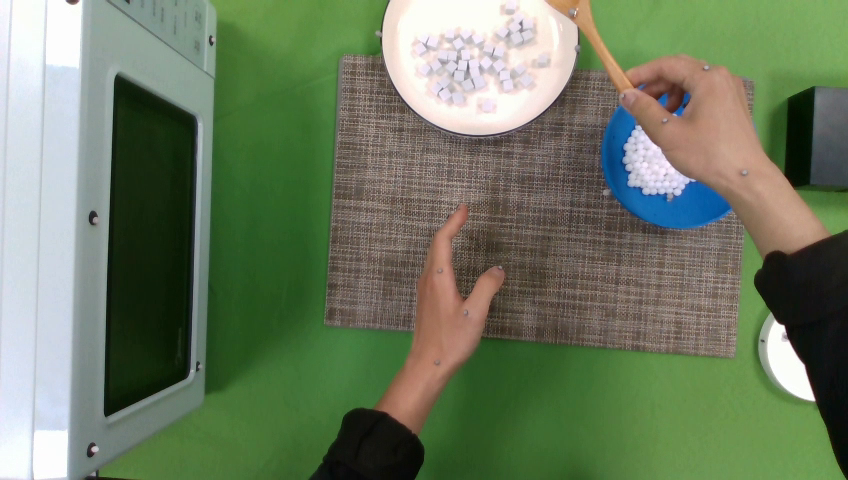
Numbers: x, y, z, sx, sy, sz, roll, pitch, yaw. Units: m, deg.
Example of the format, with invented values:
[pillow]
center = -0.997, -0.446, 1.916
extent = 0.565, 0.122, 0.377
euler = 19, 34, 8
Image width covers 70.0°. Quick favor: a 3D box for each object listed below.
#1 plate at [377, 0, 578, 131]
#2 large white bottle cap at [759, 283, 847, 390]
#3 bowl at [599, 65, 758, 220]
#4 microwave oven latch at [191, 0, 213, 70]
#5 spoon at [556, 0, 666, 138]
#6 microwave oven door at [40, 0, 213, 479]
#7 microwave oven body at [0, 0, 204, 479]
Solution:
[plate]
center = 0.056, -0.216, 0.646
extent = 0.209, 0.038, 0.209
euler = 0, 88, 1
[large white bottle cap]
center = 0.421, 0.104, 0.652
extent = 0.115, 0.018, 0.115
euler = 0, 91, 0
[bowl]
center = 0.248, -0.094, 0.621
extent = 0.151, 0.077, 0.151
euler = 0, 91, 2
[microwave oven latch]
center = -0.240, -0.223, 0.640
extent = 0.030, 0.029, 0.079
euler = 2, 91, 1
[spoon]
center = 0.147, -0.166, 0.506
extent = 0.041, 0.021, 0.194
euler = -30, 94, 35
[microwave oven door]
center = -0.253, -0.004, 0.542
extent = 0.039, 0.244, 0.355
euler = 1, 90, 2
[microwave oven body]
center = -0.398, -0.051, 0.551
extent = 0.326, 0.260, 0.441
euler = 2, 91, 1
